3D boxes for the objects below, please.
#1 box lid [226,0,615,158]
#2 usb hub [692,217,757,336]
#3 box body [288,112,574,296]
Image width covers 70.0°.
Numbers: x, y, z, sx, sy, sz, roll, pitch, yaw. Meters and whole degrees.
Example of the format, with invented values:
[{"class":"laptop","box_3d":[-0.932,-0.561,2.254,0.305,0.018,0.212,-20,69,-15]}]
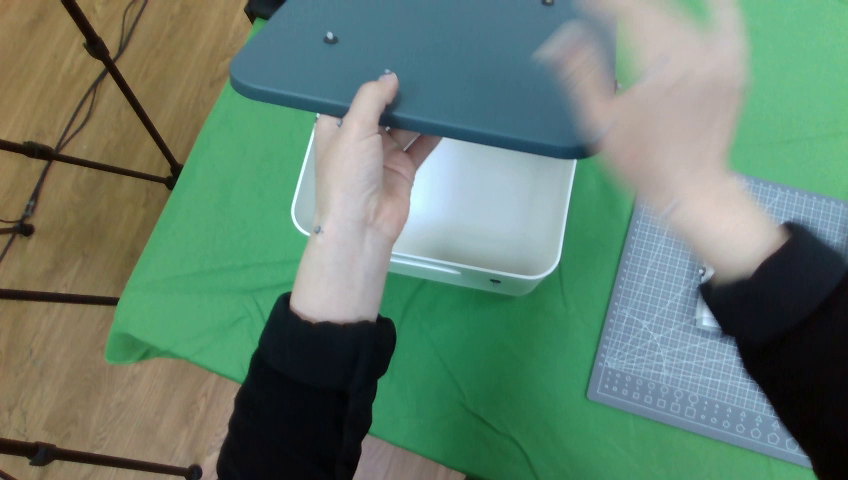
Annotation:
[{"class":"box lid","box_3d":[0.027,-0.199,0.507,0.263,0.015,0.368,12,46,6]},{"class":"usb hub","box_3d":[0.331,0.039,0.666,0.049,0.025,0.124,12,78,7]},{"class":"box body","box_3d":[0.035,-0.136,0.662,0.254,0.161,0.362,11,77,7]}]
